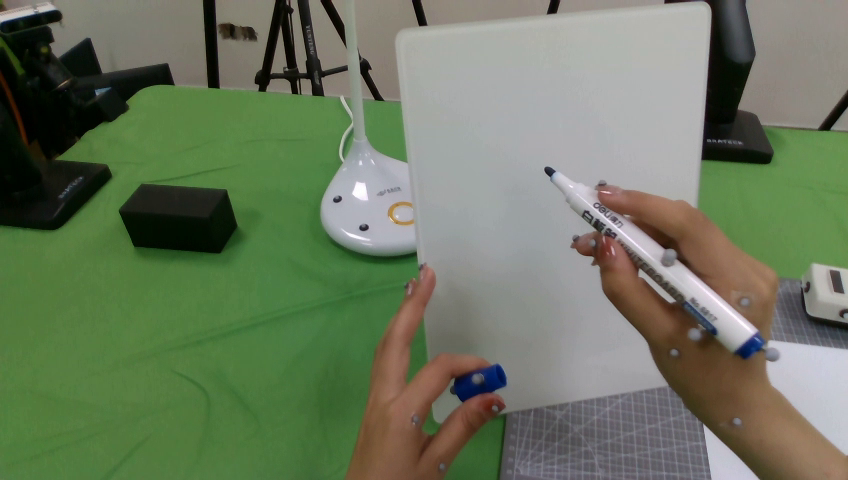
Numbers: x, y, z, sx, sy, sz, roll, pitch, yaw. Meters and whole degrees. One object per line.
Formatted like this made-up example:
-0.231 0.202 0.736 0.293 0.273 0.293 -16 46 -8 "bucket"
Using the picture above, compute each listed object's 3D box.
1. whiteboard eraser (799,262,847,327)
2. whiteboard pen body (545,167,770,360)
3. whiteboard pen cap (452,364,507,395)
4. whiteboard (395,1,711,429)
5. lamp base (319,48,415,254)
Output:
0.409 0.057 0.554 0.112 0.042 0.055 11 40 15 "whiteboard eraser"
0.110 0.006 0.306 0.017 0.017 0.139 -28 60 -27 "whiteboard pen body"
0.036 0.089 0.390 0.033 0.018 0.018 -17 34 26 "whiteboard pen cap"
0.092 -0.027 0.510 0.217 0.307 0.142 -8 21 -6 "whiteboard"
-0.050 -0.103 0.657 0.161 0.182 0.177 -27 44 -27 "lamp base"
